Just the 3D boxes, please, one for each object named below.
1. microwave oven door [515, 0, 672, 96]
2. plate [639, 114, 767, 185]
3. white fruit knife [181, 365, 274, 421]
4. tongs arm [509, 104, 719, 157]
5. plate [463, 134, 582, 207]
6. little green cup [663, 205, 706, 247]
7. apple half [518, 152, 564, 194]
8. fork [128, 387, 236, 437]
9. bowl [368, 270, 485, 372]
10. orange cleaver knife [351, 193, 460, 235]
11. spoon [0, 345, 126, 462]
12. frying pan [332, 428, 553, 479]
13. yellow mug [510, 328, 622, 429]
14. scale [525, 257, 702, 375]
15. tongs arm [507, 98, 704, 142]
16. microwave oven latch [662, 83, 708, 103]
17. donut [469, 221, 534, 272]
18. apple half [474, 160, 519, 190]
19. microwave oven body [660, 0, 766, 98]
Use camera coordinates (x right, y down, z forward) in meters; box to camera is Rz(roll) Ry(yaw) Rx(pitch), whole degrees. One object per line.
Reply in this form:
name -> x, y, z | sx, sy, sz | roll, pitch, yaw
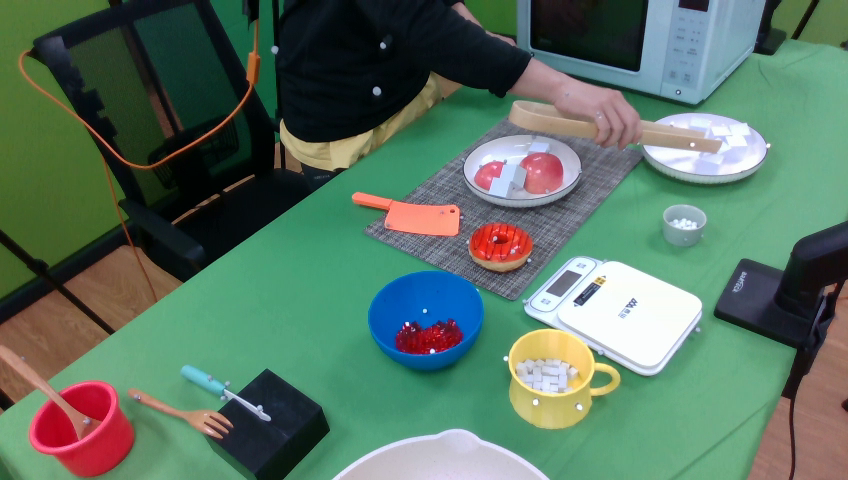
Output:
microwave oven door -> 0.343, -0.454, 1.259 | 0.353, 0.245, 0.039 | 26, 51, 33
plate -> 0.489, -0.157, 1.074 | 0.207, 0.039, 0.206 | -4, 40, 4
white fruit knife -> -0.245, 0.187, 0.747 | 0.205, 0.027, 0.016 | 9, 41, 41
tongs arm -> 0.314, -0.169, 0.962 | 0.390, 0.028, 0.028 | 5, 38, -21
plate -> 0.173, -0.119, 1.070 | 0.209, 0.038, 0.208 | -4, 40, 4
little green cup -> 0.396, -0.020, 0.926 | 0.061, 0.039, 0.061 | -4, 40, 4
apple half -> 0.204, -0.124, 1.048 | 0.075, 0.053, 0.080 | -7, 41, -3
fork -> -0.305, 0.207, 0.744 | 0.206, 0.019, 0.028 | 3, 41, 36
bowl -> 0.007, 0.118, 0.791 | 0.151, 0.077, 0.150 | -5, 40, 4
orange cleaver knife -> -0.036, -0.044, 1.029 | 0.210, 0.012, 0.077 | 10, 48, 18
spoon -> -0.434, 0.192, 0.720 | 0.194, 0.021, 0.042 | 47, 53, -6
frying pan -> -0.089, 0.306, 0.564 | 0.487, 0.103, 0.306 | 10, 41, 7
yellow mug -> 0.169, 0.164, 0.721 | 0.130, 0.064, 0.099 | 0, 40, 8
scale -> 0.254, 0.091, 0.821 | 0.199, 0.032, 0.149 | 28, 51, 35
tongs arm -> 0.308, -0.184, 0.983 | 0.387, 0.026, 0.050 | 7, 34, -18
microwave oven latch -> 0.518, -0.296, 1.204 | 0.078, 0.029, 0.030 | 28, 52, 35
donut -> 0.118, 0.009, 0.923 | 0.099, 0.048, 0.098 | -3, 39, 3
apple half -> 0.131, -0.120, 1.068 | 0.081, 0.033, 0.081 | -4, 35, 3
microwave oven body -> 0.472, -0.513, 1.317 | 0.438, 0.261, 0.327 | 26, 51, 34
